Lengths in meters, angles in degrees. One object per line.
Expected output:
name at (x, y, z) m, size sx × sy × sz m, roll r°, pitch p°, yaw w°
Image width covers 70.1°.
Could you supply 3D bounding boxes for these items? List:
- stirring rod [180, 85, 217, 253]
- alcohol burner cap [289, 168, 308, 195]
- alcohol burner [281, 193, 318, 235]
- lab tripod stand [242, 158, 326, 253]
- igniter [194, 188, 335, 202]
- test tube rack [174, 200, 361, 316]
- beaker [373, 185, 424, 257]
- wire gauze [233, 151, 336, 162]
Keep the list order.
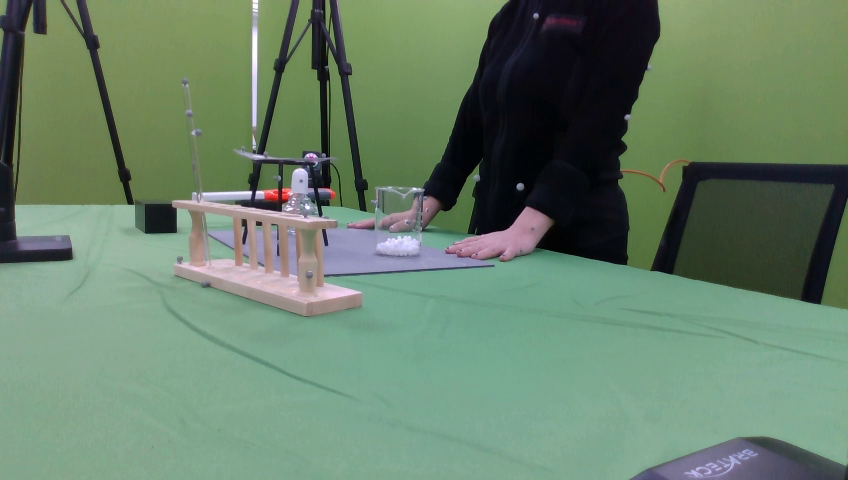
stirring rod at (-0.236, -0.073, 0.634) m, size 0.006 × 0.176 × 0.014 m, roll 1°, pitch 10°, yaw 43°
alcohol burner cap at (-0.224, -0.105, 1.081) m, size 0.034 × 0.048 × 0.034 m, roll 3°, pitch 3°, yaw 0°
alcohol burner at (-0.225, -0.069, 1.086) m, size 0.078 × 0.119 × 0.078 m, roll 2°, pitch 6°, yaw 0°
lab tripod stand at (-0.207, -0.054, 0.895) m, size 0.148 × 0.131 × 0.148 m, roll 3°, pitch 5°, yaw 0°
igniter at (-0.312, -0.089, 1.209) m, size 0.278 × 0.025 × 0.057 m, roll -5°, pitch 13°, yaw -31°
test tube rack at (-0.169, 0.010, 0.622) m, size 0.241 × 0.085 × 0.067 m, roll 9°, pitch 9°, yaw 41°
beaker at (-0.037, -0.027, 0.885) m, size 0.074 × 0.100 × 0.084 m, roll 1°, pitch 8°, yaw -11°
wire gauze at (-0.204, -0.120, 0.887) m, size 0.122 × 0.011 × 0.124 m, roll 0°, pitch 7°, yaw -32°
